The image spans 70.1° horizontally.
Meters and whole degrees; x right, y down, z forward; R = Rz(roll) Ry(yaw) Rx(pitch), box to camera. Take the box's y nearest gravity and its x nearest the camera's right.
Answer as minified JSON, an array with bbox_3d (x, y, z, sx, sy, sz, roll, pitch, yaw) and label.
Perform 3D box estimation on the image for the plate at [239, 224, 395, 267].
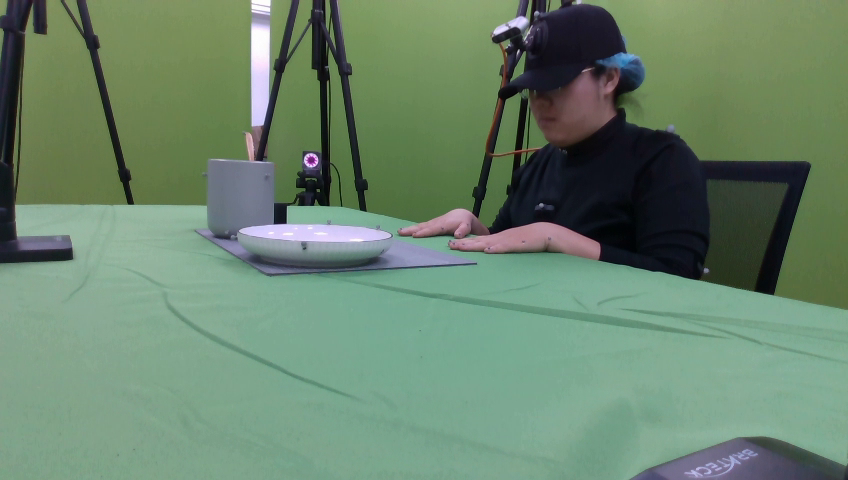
[{"bbox_3d":[-0.144,0.007,0.823,0.208,0.039,0.207,3,7,0],"label":"plate"}]

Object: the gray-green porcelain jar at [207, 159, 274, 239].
[{"bbox_3d":[-0.304,-0.068,1.004,0.106,0.126,0.106,3,7,0],"label":"gray-green porcelain jar"}]

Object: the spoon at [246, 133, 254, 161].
[{"bbox_3d":[-0.344,-0.153,1.209,0.042,0.021,0.193,3,51,-22],"label":"spoon"}]
